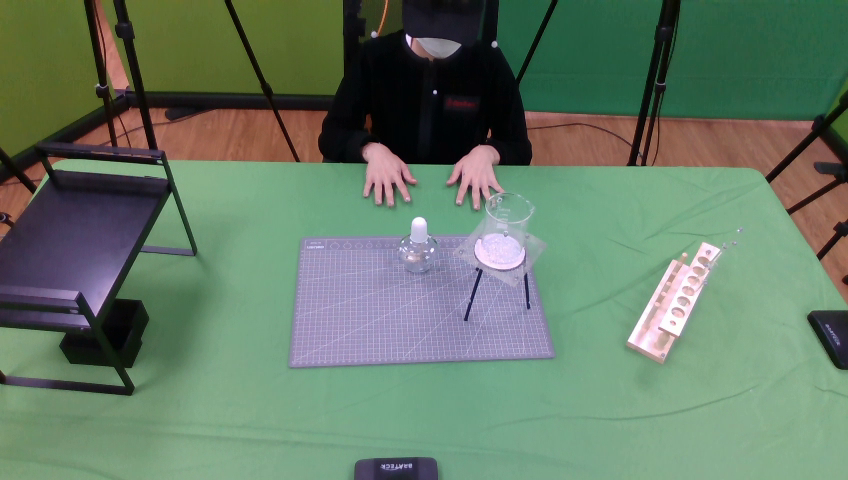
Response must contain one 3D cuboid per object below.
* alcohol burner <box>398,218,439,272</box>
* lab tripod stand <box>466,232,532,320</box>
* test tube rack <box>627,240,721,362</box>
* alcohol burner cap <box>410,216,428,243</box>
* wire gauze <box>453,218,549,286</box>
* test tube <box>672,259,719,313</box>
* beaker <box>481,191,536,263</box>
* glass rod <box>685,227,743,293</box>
[{"bbox_3d":[-0.010,0.004,1.123,0.078,0.120,0.077,1,47,0],"label":"alcohol burner"},{"bbox_3d":[0.125,0.059,1.065,0.148,0.132,0.147,1,45,0],"label":"lab tripod stand"},{"bbox_3d":[0.452,0.098,1.087,0.066,0.085,0.242,28,51,22],"label":"test tube rack"},{"bbox_3d":[-0.009,-0.022,1.099,0.034,0.048,0.033,2,41,-1],"label":"alcohol burner cap"},{"bbox_3d":[0.129,0.014,1.018,0.124,0.011,0.121,26,47,25],"label":"wire gauze"},{"bbox_3d":[0.460,0.082,1.032,0.017,0.151,0.017,4,52,-5],"label":"test tube"},{"bbox_3d":[0.134,-0.019,0.982,0.084,0.101,0.073,-5,46,-8],"label":"beaker"},{"bbox_3d":[0.500,0.041,1.053,0.008,0.200,0.008,4,53,-5],"label":"glass rod"}]
